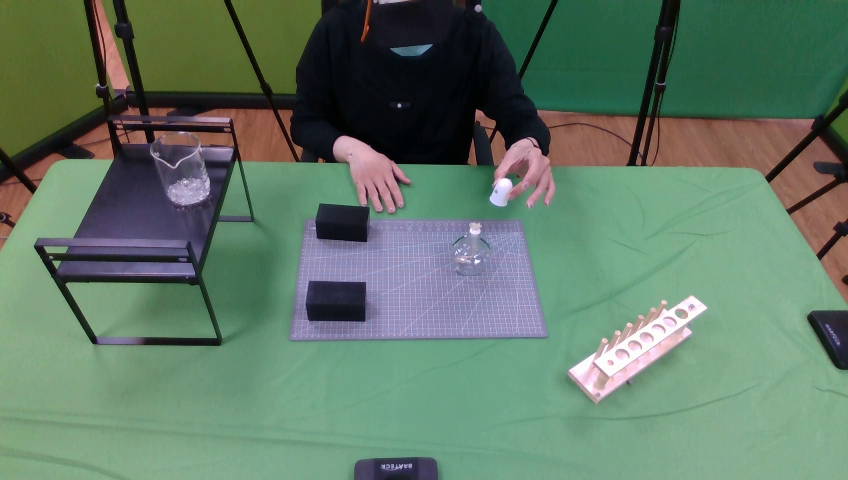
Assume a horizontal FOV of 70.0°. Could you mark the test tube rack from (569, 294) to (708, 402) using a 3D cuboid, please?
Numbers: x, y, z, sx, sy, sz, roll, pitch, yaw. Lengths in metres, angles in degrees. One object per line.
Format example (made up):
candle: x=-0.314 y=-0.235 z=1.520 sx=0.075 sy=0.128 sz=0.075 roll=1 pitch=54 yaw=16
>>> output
test tube rack: x=0.360 y=0.167 z=1.014 sx=0.242 sy=0.085 sz=0.066 roll=-25 pitch=52 yaw=-25

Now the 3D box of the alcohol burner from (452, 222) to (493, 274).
alcohol burner: x=0.091 y=0.008 z=1.124 sx=0.078 sy=0.119 sz=0.077 roll=2 pitch=48 yaw=-2

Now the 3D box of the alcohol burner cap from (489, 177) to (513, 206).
alcohol burner cap: x=0.132 y=-0.086 z=1.026 sx=0.034 sy=0.048 sz=0.033 roll=14 pitch=37 yaw=-10

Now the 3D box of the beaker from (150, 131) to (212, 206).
beaker: x=-0.385 y=-0.110 z=0.969 sx=0.074 sy=0.101 sz=0.083 roll=-6 pitch=48 yaw=-9
